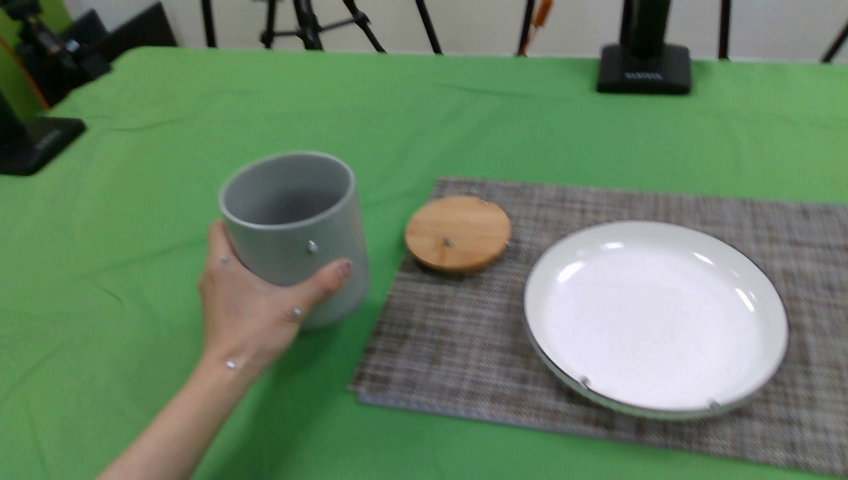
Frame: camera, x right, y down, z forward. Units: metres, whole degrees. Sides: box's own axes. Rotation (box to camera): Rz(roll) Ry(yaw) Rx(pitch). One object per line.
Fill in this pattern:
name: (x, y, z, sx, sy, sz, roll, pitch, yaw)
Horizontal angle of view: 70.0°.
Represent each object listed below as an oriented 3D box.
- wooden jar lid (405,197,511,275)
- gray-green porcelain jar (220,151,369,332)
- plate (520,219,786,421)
wooden jar lid: (0.035, -0.004, 0.622, 0.108, 0.021, 0.107, -3, 43, 4)
gray-green porcelain jar: (-0.102, 0.006, 0.511, 0.106, 0.127, 0.105, -1, 41, 2)
plate: (0.186, 0.065, 0.514, 0.207, 0.039, 0.205, -4, 44, 4)
